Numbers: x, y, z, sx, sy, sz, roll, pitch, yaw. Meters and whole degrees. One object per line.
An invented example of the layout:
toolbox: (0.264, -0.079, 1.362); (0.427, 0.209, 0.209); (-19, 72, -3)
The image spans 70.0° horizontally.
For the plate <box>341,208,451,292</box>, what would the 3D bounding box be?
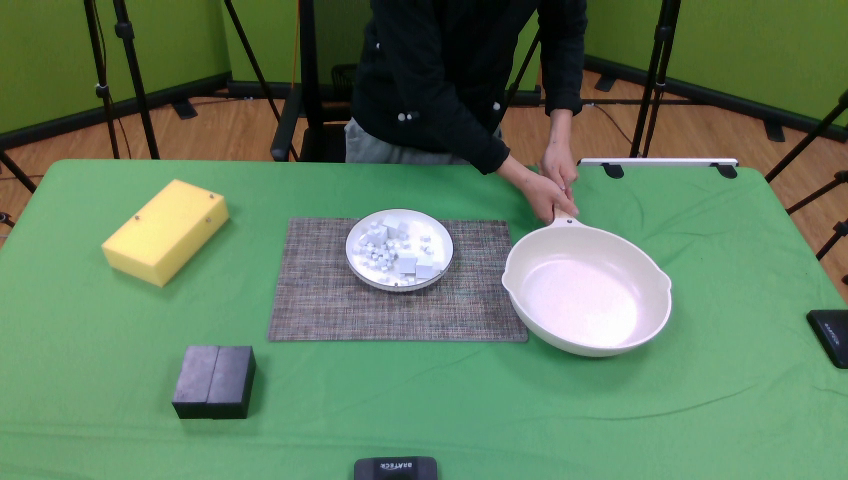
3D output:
plate: (-0.053, 0.022, 1.156); (0.208, 0.039, 0.206); (2, 46, -2)

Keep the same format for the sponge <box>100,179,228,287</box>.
sponge: (-0.486, -0.018, 1.151); (0.118, 0.061, 0.206); (19, 47, 12)

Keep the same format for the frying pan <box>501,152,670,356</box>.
frying pan: (0.281, 0.008, 1.154); (0.307, 0.103, 0.484); (1, 53, -6)
